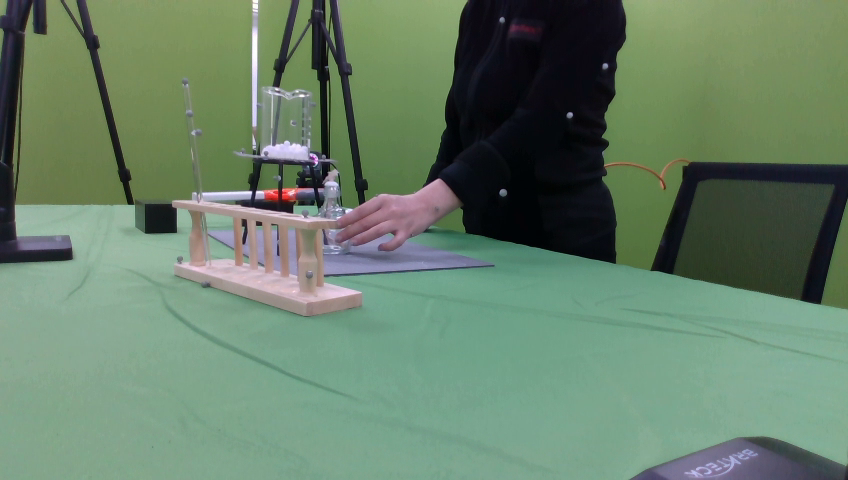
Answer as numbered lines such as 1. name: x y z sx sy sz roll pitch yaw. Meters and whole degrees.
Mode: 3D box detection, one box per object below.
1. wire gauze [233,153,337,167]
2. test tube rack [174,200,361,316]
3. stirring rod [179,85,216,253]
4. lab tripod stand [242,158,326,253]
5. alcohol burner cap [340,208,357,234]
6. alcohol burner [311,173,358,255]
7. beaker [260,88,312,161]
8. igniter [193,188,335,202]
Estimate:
1. wire gauze: -0.205 -0.119 0.887 0.122 0.011 0.124 2 4 -32
2. test tube rack: -0.169 0.009 0.622 0.241 0.085 0.067 9 9 41
3. stirring rod: -0.237 -0.073 0.634 0.006 0.176 0.014 0 10 42
4. lab tripod stand: -0.207 -0.054 0.895 0.148 0.131 0.148 3 5 0
5. alcohol burner cap: -0.142 -0.035 1.136 0.034 0.048 0.034 3 7 0
6. alcohol burner: -0.135 -0.039 0.882 0.078 0.119 0.078 2 6 0
7. beaker: -0.200 -0.166 0.876 0.074 0.100 0.083 1 7 -18
8. igniter: -0.312 -0.089 1.209 0.278 0.025 0.057 -5 13 -31
